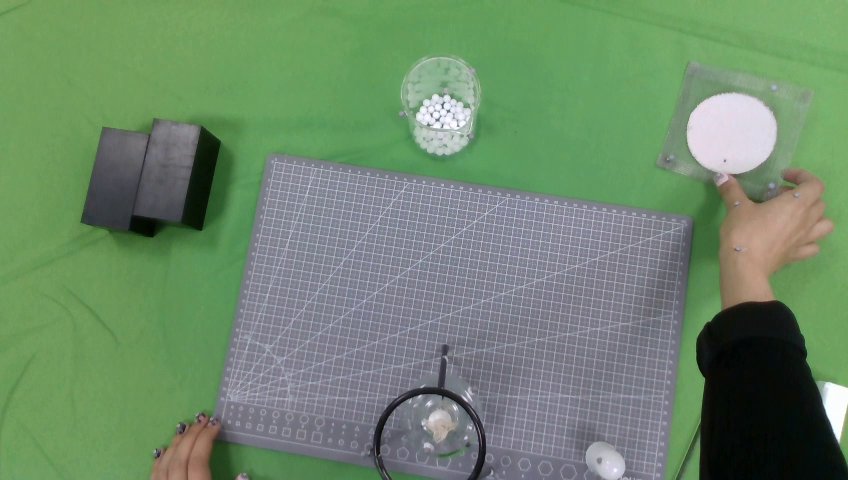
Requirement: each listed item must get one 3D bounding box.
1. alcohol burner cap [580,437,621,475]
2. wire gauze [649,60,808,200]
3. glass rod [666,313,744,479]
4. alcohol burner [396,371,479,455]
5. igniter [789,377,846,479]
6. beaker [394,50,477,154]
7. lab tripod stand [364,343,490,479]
[{"bbox_3d":[0.170,0.208,0.577,0.034,0.048,0.033,0,80,3],"label":"alcohol burner cap"},{"bbox_3d":[0.311,-0.117,0.625,0.124,0.011,0.121,21,89,17],"label":"wire gauze"},{"bbox_3d":[0.275,0.163,0.600,0.008,0.008,0.199,26,84,5],"label":"glass rod"},{"bbox_3d":[0.012,0.159,0.553,0.078,0.119,0.077,0,80,1],"label":"alcohol burner"},{"bbox_3d":[0.353,0.267,0.573,0.057,0.025,0.276,18,84,-7],"label":"igniter"},{"bbox_3d":[0.015,-0.129,0.600,0.074,0.100,0.083,-35,83,-2],"label":"beaker"},{"bbox_3d":[0.004,0.166,0.542,0.148,0.132,0.148,-1,81,4],"label":"lab tripod stand"}]
